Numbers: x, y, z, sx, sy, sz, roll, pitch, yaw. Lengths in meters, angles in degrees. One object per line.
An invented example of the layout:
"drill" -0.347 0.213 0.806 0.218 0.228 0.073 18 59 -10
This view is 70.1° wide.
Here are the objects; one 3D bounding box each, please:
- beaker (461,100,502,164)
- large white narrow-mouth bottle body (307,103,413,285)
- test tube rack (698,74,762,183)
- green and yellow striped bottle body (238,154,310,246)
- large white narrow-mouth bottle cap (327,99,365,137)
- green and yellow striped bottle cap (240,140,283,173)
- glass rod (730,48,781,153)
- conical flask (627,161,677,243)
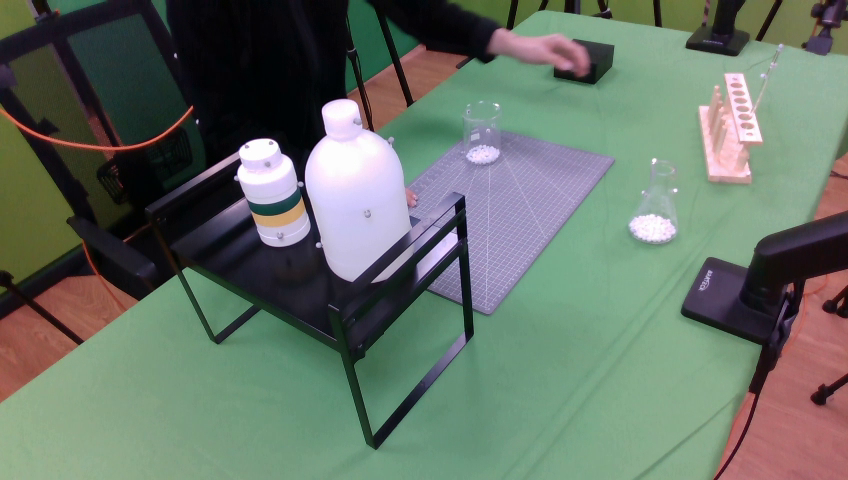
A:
"beaker" 0.111 -0.200 1.132 0.084 0.101 0.073 -27 45 -22
"large white narrow-mouth bottle body" -0.070 -0.051 0.638 0.102 0.195 0.101 -3 40 3
"test tube rack" 0.547 -0.208 1.095 0.066 0.085 0.242 5 42 15
"green and yellow striped bottle body" -0.178 -0.056 0.714 0.063 0.120 0.063 -4 40 4
"large white narrow-mouth bottle cap" -0.075 -0.118 0.582 0.038 0.024 0.037 -3 40 3
"green and yellow striped bottle cap" -0.183 -0.094 0.680 0.045 0.020 0.045 -4 38 4
"glass rod" 0.554 -0.228 1.015 0.008 0.200 0.008 1 44 -1
"conical flask" 0.355 -0.061 0.921 0.075 0.122 0.075 -4 41 4
